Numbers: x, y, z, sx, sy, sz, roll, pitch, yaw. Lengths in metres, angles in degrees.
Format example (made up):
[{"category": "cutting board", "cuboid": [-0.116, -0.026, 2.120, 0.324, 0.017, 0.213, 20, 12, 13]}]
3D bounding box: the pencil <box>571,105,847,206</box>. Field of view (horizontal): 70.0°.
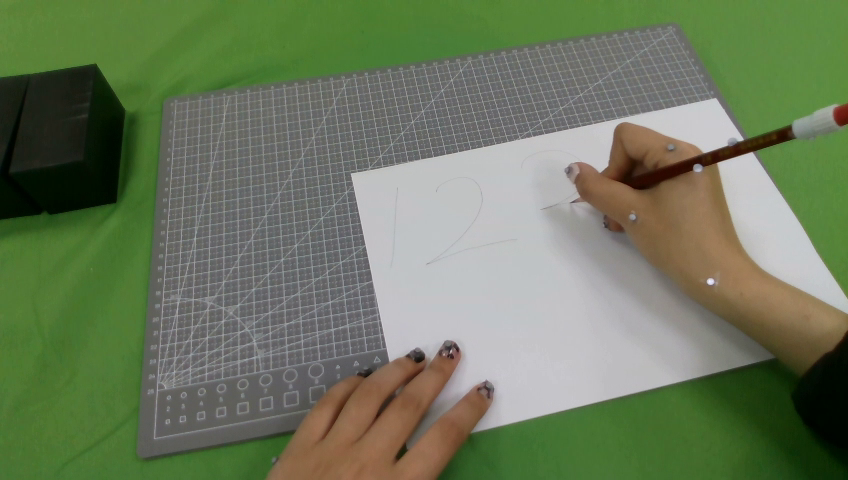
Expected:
[{"category": "pencil", "cuboid": [0.151, -0.041, 0.354, 0.012, 0.193, 0.012, 5, 78, -27]}]
